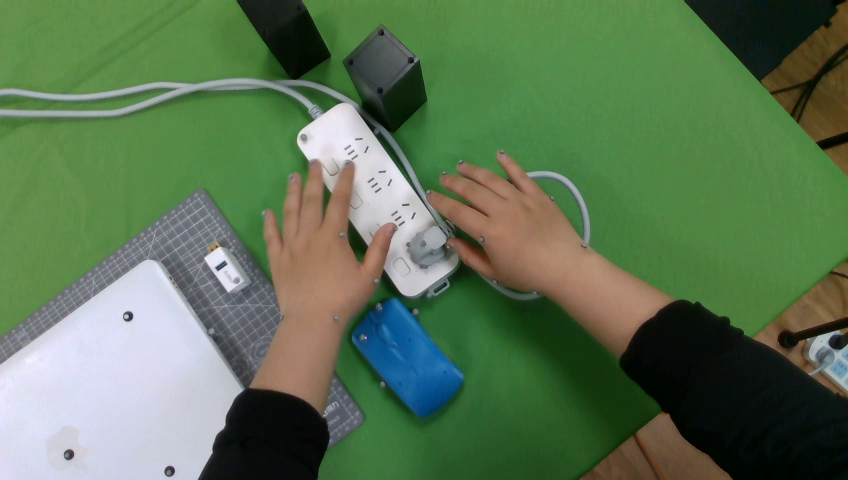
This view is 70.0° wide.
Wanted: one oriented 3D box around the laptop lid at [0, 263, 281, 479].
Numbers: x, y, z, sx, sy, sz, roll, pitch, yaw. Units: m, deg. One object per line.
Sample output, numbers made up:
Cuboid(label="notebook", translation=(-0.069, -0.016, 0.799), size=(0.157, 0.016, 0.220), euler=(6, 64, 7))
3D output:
Cuboid(label="laptop lid", translation=(-0.346, 0.216, 0.604), size=(0.357, 0.013, 0.241), euler=(-35, 84, -1))

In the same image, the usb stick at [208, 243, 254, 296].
Cuboid(label="usb stick", translation=(-0.202, 0.028, 0.622), size=(0.021, 0.027, 0.059), euler=(-37, 80, 1))

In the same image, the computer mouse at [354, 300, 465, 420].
Cuboid(label="computer mouse", translation=(-0.016, 0.117, 0.595), size=(0.063, 0.041, 0.116), euler=(-42, 77, 2))

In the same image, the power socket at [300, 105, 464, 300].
Cuboid(label="power socket", translation=(-0.044, -0.038, 0.617), size=(0.072, 0.033, 0.226), euler=(-36, 82, 0))

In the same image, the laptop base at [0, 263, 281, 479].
Cuboid(label="laptop base", translation=(-0.346, 0.215, 0.615), size=(0.354, 0.023, 0.235), euler=(-37, 85, -1))

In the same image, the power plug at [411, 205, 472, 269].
Cuboid(label="power plug", translation=(0.022, 0.000, 0.588), size=(0.072, 0.053, 0.035), euler=(-28, 85, 1))
